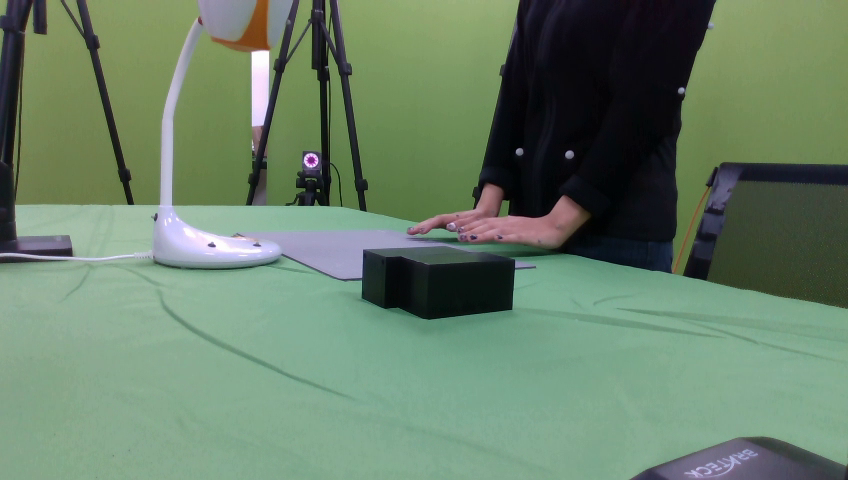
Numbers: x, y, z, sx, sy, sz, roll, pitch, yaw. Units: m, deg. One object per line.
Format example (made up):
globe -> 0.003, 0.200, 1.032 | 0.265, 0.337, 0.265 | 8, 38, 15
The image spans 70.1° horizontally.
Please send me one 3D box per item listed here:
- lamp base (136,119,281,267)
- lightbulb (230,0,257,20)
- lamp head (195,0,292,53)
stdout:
lamp base -> -0.275, -0.061, 0.773 | 0.160, 0.180, 0.180 | 9, 13, 44
lightbulb -> -0.175, -0.275, 0.603 | 0.059, 0.107, 0.059 | 11, 11, -2
lamp head -> -0.185, -0.254, 0.610 | 0.112, 0.123, 0.112 | 10, 20, -3
